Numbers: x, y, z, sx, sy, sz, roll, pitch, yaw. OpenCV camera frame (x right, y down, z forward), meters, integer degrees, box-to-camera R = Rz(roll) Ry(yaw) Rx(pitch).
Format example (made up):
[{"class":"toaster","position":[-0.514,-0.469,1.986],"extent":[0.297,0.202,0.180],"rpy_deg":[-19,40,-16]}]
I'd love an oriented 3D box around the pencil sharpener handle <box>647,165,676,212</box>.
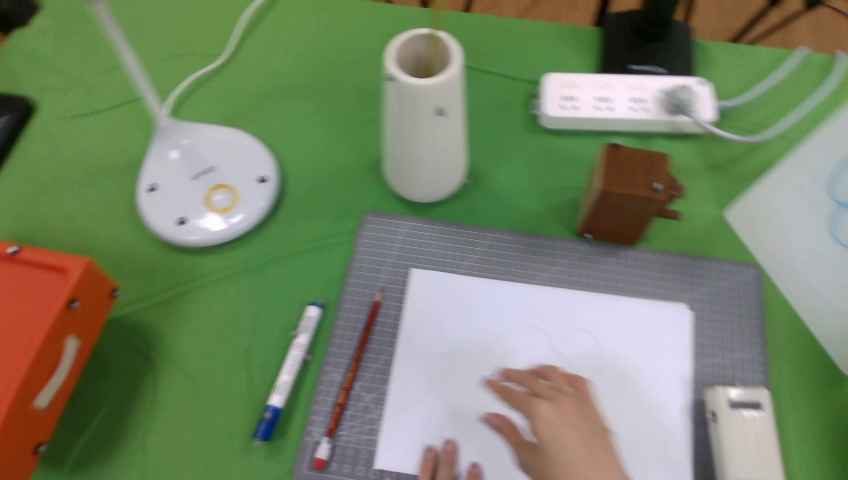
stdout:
[{"class":"pencil sharpener handle","position":[0.255,-0.052,0.637],"extent":[0.030,0.068,0.035],"rpy_deg":[10,62,6]}]

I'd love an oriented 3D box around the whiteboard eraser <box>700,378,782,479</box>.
[{"class":"whiteboard eraser","position":[0.294,0.186,0.565],"extent":[0.055,0.042,0.112],"rpy_deg":[3,63,0]}]

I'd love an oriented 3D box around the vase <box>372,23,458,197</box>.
[{"class":"vase","position":[-0.012,-0.130,0.641],"extent":[0.098,0.201,0.097],"rpy_deg":[-1,62,2]}]

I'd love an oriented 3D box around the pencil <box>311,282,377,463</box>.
[{"class":"pencil","position":[-0.077,0.128,0.616],"extent":[0.012,0.012,0.193],"rpy_deg":[13,63,8]}]

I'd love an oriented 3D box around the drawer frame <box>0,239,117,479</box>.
[{"class":"drawer frame","position":[-0.434,0.096,0.551],"extent":[0.213,0.083,0.200],"rpy_deg":[11,65,4]}]

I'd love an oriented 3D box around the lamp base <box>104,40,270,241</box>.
[{"class":"lamp base","position":[-0.272,-0.112,0.645],"extent":[0.178,0.182,0.160],"rpy_deg":[38,69,21]}]

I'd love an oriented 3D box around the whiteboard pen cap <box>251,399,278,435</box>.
[{"class":"whiteboard pen cap","position":[-0.153,0.170,0.586],"extent":[0.018,0.018,0.033],"rpy_deg":[12,59,7]}]

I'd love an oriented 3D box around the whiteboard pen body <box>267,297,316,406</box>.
[{"class":"whiteboard pen body","position":[-0.137,0.121,0.615],"extent":[0.017,0.017,0.140],"rpy_deg":[12,60,7]}]

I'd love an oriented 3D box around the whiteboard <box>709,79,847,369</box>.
[{"class":"whiteboard","position":[0.478,-0.051,0.572],"extent":[0.144,0.307,0.215],"rpy_deg":[-13,62,-27]}]

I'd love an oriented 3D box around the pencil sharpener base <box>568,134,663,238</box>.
[{"class":"pencil sharpener base","position":[0.205,-0.055,0.653],"extent":[0.076,0.108,0.061],"rpy_deg":[10,63,5]}]

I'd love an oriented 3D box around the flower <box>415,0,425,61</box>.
[{"class":"flower","position":[-0.004,-0.182,0.575],"extent":[0.038,0.365,0.043],"rpy_deg":[-3,45,-9]}]

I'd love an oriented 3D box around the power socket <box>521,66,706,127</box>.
[{"class":"power socket","position":[0.236,-0.180,0.756],"extent":[0.227,0.033,0.071],"rpy_deg":[2,64,1]}]

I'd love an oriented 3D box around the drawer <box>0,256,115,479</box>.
[{"class":"drawer","position":[-0.428,0.094,0.549],"extent":[0.211,0.074,0.193],"rpy_deg":[10,65,6]}]

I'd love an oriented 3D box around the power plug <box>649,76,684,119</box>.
[{"class":"power plug","position":[0.286,-0.163,0.721],"extent":[0.035,0.053,0.072],"rpy_deg":[11,65,7]}]
